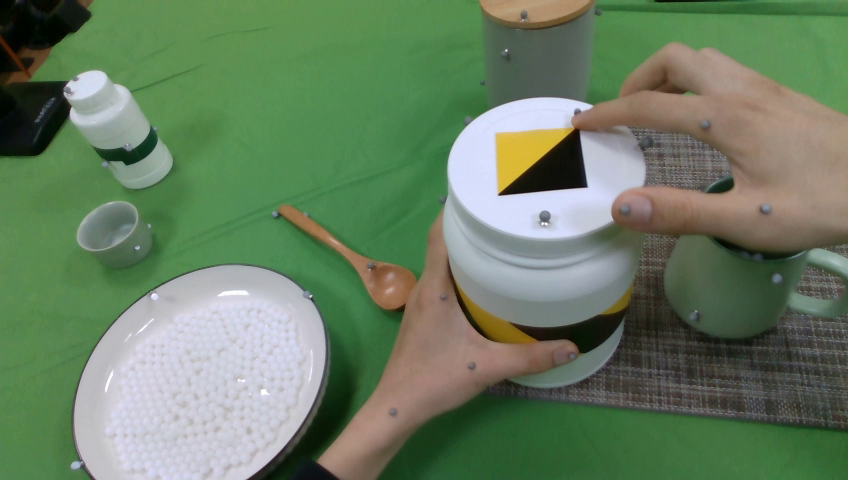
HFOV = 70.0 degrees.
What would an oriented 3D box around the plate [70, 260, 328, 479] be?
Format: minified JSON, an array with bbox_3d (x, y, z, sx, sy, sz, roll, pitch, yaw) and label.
[{"bbox_3d":[-0.177,0.112,0.496,0.209,0.038,0.207,-4,54,6],"label":"plate"}]

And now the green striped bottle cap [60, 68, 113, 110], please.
[{"bbox_3d":[-0.329,-0.147,0.591,0.044,0.020,0.044,-3,55,5],"label":"green striped bottle cap"}]

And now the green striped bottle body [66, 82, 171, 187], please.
[{"bbox_3d":[-0.322,-0.116,0.633,0.063,0.120,0.062,-5,53,7],"label":"green striped bottle body"}]

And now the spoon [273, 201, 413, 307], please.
[{"bbox_3d":[-0.082,0.005,0.567,0.192,0.022,0.041,34,80,28],"label":"spoon"}]

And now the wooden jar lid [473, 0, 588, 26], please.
[{"bbox_3d":[0.099,-0.225,0.557,0.108,0.021,0.107,-6,51,9],"label":"wooden jar lid"}]

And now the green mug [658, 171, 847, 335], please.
[{"bbox_3d":[0.245,0.018,0.448,0.124,0.106,0.092,22,60,23],"label":"green mug"}]

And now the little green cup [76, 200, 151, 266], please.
[{"bbox_3d":[-0.305,-0.005,0.601,0.061,0.039,0.061,-5,53,6],"label":"little green cup"}]

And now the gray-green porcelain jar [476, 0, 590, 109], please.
[{"bbox_3d":[0.107,-0.184,0.605,0.106,0.128,0.105,-4,50,5],"label":"gray-green porcelain jar"}]

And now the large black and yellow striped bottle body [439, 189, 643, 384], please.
[{"bbox_3d":[0.081,0.009,0.431,0.130,0.186,0.129,-5,54,7],"label":"large black and yellow striped bottle body"}]

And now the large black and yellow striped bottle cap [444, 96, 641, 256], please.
[{"bbox_3d":[0.068,-0.042,0.359,0.115,0.019,0.114,-4,53,6],"label":"large black and yellow striped bottle cap"}]
